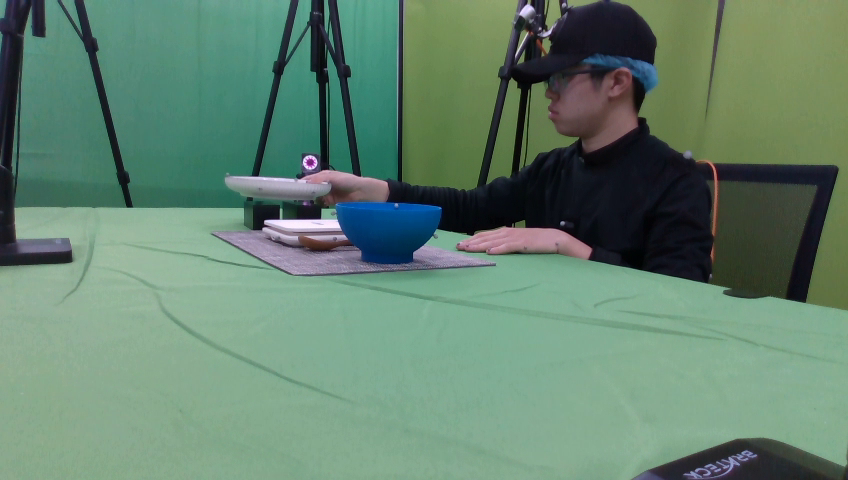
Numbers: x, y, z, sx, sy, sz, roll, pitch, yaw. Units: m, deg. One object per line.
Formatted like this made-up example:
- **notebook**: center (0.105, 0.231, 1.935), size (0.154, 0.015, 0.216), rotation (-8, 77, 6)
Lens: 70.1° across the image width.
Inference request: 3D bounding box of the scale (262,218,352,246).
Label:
- **scale**: center (-0.160, -0.016, 1.028), size (0.202, 0.031, 0.148), rotation (-2, 9, -32)

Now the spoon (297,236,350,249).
- **spoon**: center (-0.103, 0.002, 0.943), size (0.195, 0.021, 0.041), rotation (-2, -6, -30)

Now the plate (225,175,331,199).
- **plate**: center (-0.294, -0.108, 1.228), size (0.209, 0.038, 0.209), rotation (4, 6, 0)

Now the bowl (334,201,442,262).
- **bowl**: center (-0.051, -0.012, 0.848), size (0.151, 0.077, 0.151), rotation (2, 7, 0)
